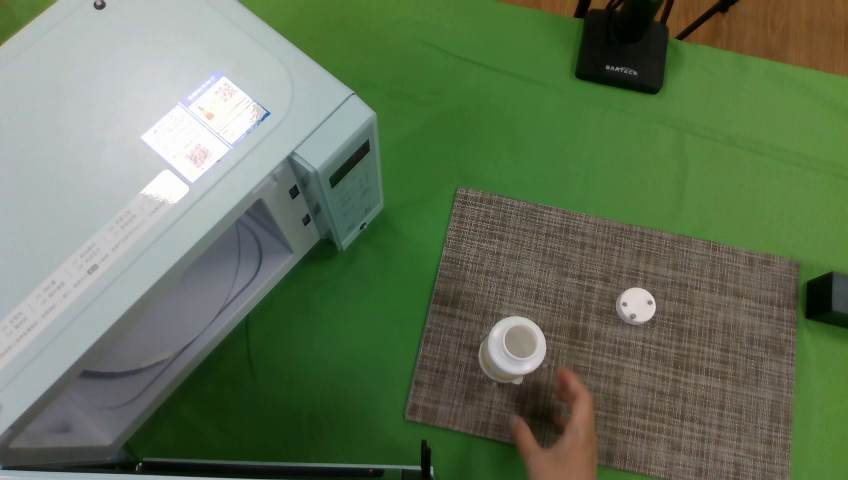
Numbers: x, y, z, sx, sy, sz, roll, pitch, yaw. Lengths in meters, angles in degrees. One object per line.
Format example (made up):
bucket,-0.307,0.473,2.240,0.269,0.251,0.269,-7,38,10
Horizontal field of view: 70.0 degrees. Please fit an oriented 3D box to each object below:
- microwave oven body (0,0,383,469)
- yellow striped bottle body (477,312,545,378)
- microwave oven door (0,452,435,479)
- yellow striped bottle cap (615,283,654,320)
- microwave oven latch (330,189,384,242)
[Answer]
microwave oven body,-0.307,-0.029,0.627,0.325,0.261,0.441,39,76,9
yellow striped bottle body,0.097,0.116,0.671,0.063,0.121,0.062,1,72,-2
microwave oven door,-0.162,0.220,0.551,0.356,0.245,0.039,2,72,-2
yellow striped bottle cap,0.260,0.075,0.746,0.044,0.019,0.044,0,72,0
microwave oven latch,-0.082,-0.036,0.739,0.030,0.029,0.079,41,76,9
